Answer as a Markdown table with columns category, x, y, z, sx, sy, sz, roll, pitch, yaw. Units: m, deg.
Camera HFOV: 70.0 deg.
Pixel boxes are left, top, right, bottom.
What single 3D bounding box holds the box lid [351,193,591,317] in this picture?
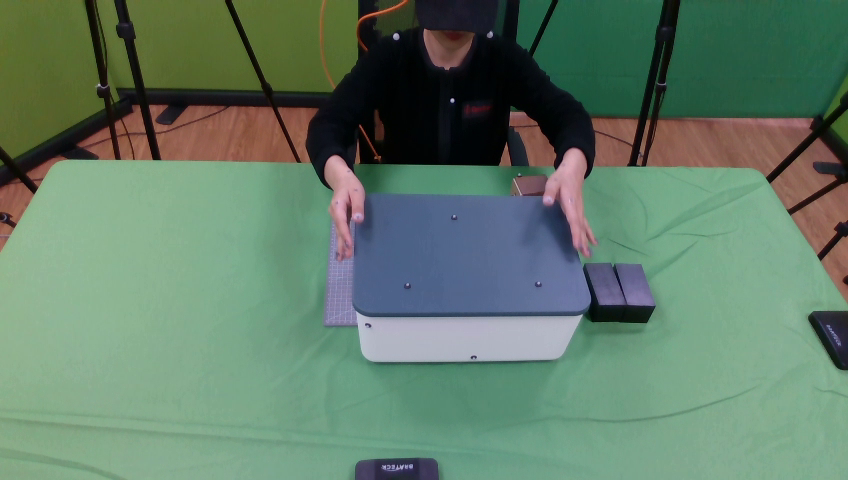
| category | x | y | z | sx | sy | sz | roll | pitch | yaw |
| --- | --- | --- | --- | --- | --- | --- | --- | --- | --- |
| box lid | 0.071 | 0.017 | 0.984 | 0.372 | 0.015 | 0.261 | 0 | 47 | -4 |

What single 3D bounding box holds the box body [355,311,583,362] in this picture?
| category | x | y | z | sx | sy | sz | roll | pitch | yaw |
| --- | --- | --- | --- | --- | --- | --- | --- | --- | --- |
| box body | 0.066 | 0.068 | 1.038 | 0.364 | 0.161 | 0.252 | 0 | 46 | -4 |

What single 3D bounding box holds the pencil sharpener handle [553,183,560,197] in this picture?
| category | x | y | z | sx | sy | sz | roll | pitch | yaw |
| --- | --- | --- | --- | --- | --- | --- | --- | --- | --- |
| pencil sharpener handle | 0.267 | -0.088 | 1.223 | 0.031 | 0.068 | 0.035 | -6 | 43 | -10 |

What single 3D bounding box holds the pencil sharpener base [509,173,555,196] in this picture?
| category | x | y | z | sx | sy | sz | roll | pitch | yaw |
| --- | --- | --- | --- | --- | --- | --- | --- | --- | --- |
| pencil sharpener base | 0.216 | -0.075 | 1.223 | 0.077 | 0.107 | 0.061 | -6 | 46 | -10 |
